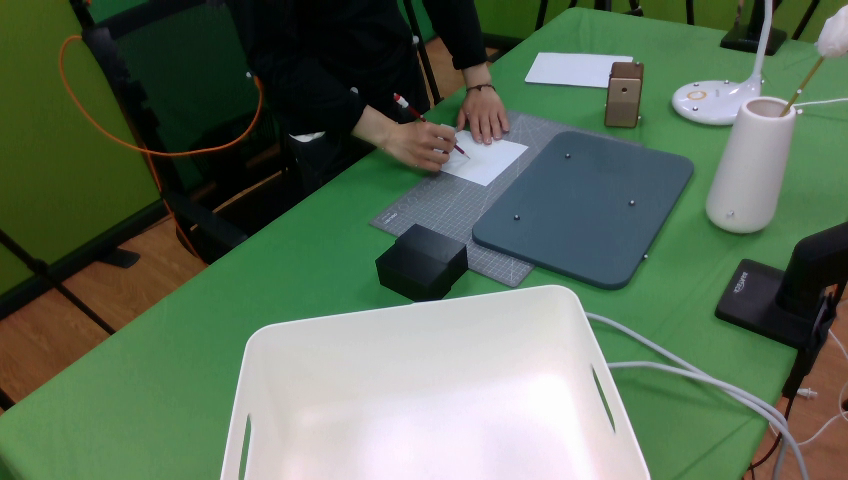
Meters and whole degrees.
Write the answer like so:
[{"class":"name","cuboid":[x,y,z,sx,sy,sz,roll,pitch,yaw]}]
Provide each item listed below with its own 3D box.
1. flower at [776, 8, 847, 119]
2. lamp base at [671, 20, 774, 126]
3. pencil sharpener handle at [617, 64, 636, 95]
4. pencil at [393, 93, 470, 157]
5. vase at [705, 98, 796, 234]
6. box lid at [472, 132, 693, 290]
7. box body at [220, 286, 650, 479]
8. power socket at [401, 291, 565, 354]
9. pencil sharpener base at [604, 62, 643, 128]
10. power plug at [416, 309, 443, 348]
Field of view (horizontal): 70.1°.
[{"class":"flower","cuboid":[0.476,-0.156,0.822,0.038,0.362,0.044,8,58,2]},{"class":"lamp base","cuboid":[0.581,-0.332,1.154,0.179,0.181,0.160,2,41,7]},{"class":"pencil sharpener handle","cuboid":[0.401,-0.326,1.211,0.036,0.068,0.030,16,44,8]},{"class":"pencil","cuboid":[0.017,-0.207,1.106,0.012,0.195,0.012,-36,36,31]},{"class":"vase","cuboid":[0.480,-0.104,0.889,0.098,0.201,0.097,-4,42,4]},{"class":"box lid","cuboid":[0.273,-0.068,1.020,0.261,0.015,0.372,20,47,28]},{"class":"box body","cuboid":[0.006,0.210,0.618,0.364,0.161,0.252,-8,40,-1]},{"class":"power socket","cuboid":[0.079,0.111,0.823,0.227,0.033,0.072,-5,41,1]},{"class":"pencil sharpener base","cuboid":[0.390,-0.284,1.182,0.061,0.107,0.076,7,42,17]},{"class":"power plug","cuboid":[0.004,0.121,0.787,0.035,0.053,0.072,2,46,8]}]
